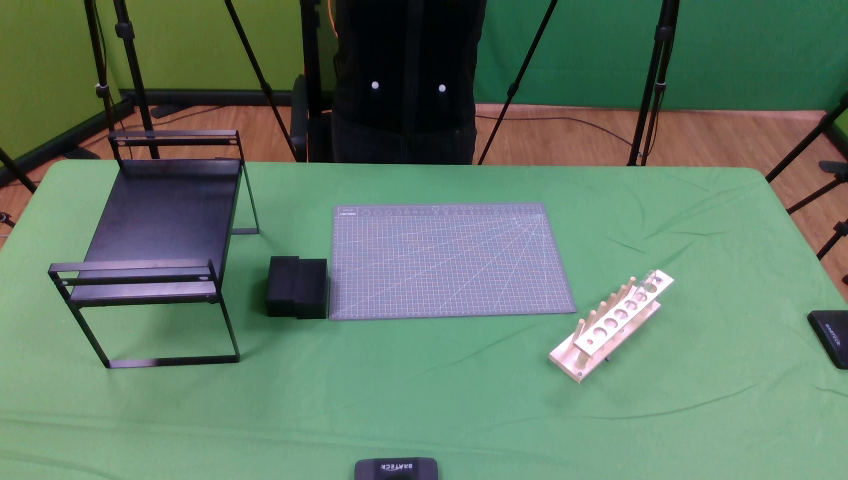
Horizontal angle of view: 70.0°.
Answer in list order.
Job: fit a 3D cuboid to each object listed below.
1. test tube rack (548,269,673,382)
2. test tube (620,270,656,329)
[{"bbox_3d":[0.325,0.134,1.047,0.242,0.085,0.066,-32,56,-30],"label":"test tube rack"},{"bbox_3d":[0.352,0.102,1.012,0.017,0.151,0.017,4,47,-4],"label":"test tube"}]
